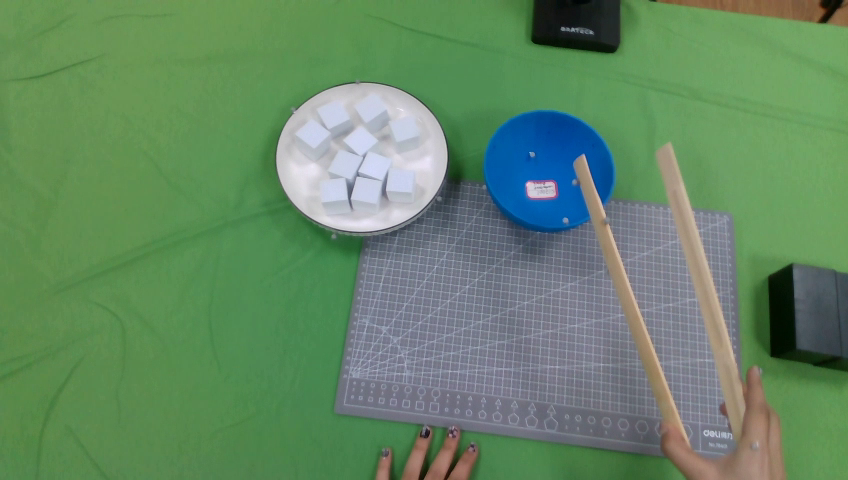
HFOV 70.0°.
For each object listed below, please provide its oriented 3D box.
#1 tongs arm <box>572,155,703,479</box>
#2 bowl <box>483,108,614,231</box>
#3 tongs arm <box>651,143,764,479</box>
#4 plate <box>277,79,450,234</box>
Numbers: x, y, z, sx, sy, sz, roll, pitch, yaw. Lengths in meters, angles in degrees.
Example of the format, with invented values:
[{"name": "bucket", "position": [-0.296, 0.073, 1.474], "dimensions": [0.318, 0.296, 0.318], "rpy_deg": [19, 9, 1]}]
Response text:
[{"name": "tongs arm", "position": [0.224, 0.094, 0.583], "dimensions": [0.051, 0.026, 0.382], "rpy_deg": [-11, 77, -18]}, {"name": "bowl", "position": [0.140, -0.071, 0.719], "dimensions": [0.151, 0.077, 0.150], "rpy_deg": [1, 70, -3]}, {"name": "tongs arm", "position": [0.277, 0.085, 0.599], "dimensions": [0.028, 0.028, 0.385], "rpy_deg": [-4, 75, -20]}, {"name": "plate", "position": [-0.072, -0.100, 0.742], "dimensions": [0.208, 0.039, 0.206], "rpy_deg": [1, 69, -1]}]
